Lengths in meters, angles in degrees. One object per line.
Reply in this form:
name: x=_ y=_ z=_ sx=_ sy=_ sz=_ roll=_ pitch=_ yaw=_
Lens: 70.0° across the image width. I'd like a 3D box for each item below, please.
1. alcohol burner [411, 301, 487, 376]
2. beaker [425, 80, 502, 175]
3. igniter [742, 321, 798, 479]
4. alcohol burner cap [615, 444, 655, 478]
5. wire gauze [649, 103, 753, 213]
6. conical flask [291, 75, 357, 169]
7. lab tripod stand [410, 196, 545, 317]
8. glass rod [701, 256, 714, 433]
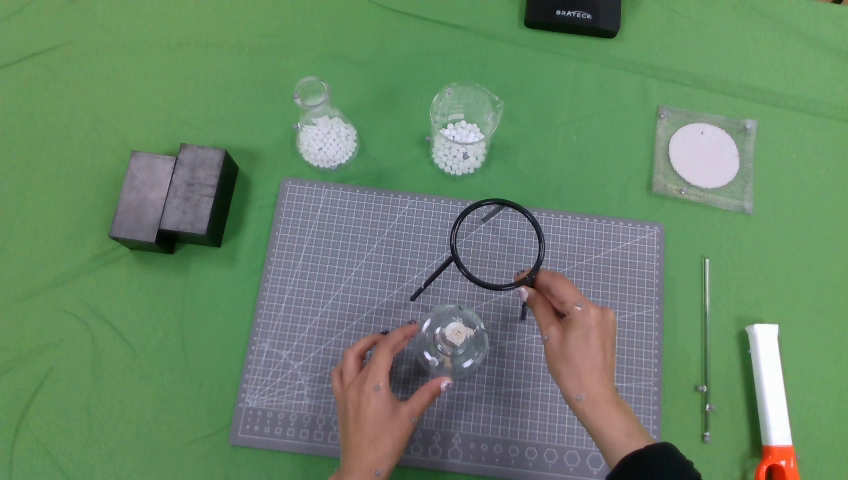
alcohol burner: x=0.027 y=0.097 z=0.611 sx=0.078 sy=0.119 sz=0.077 roll=1 pitch=73 yaw=-3
beaker: x=0.042 y=-0.123 z=0.682 sx=0.084 sy=0.100 sz=0.073 roll=-19 pitch=76 yaw=-7
igniter: x=0.368 y=0.223 z=0.635 sx=0.057 sy=0.025 sz=0.275 roll=4 pitch=75 yaw=-11
alcohol burner cap: x=0.218 y=0.227 z=0.618 sx=0.034 sy=0.048 sz=0.033 roll=0 pitch=74 yaw=-1
wire gauze: x=0.335 y=-0.102 z=0.732 sx=0.125 sy=0.011 sz=0.121 roll=12 pitch=76 yaw=0
conical flask: x=-0.116 y=-0.134 z=0.668 sx=0.075 sy=0.122 sz=0.075 roll=0 pitch=74 yaw=-1
lab tripod stand: x=0.058 y=0.022 z=0.618 sx=0.148 sy=0.132 sz=0.147 roll=2 pitch=75 yaw=-5
glass rod: x=0.317 y=0.112 z=0.675 sx=0.008 sy=0.008 sz=0.198 roll=10 pitch=74 yaw=1
